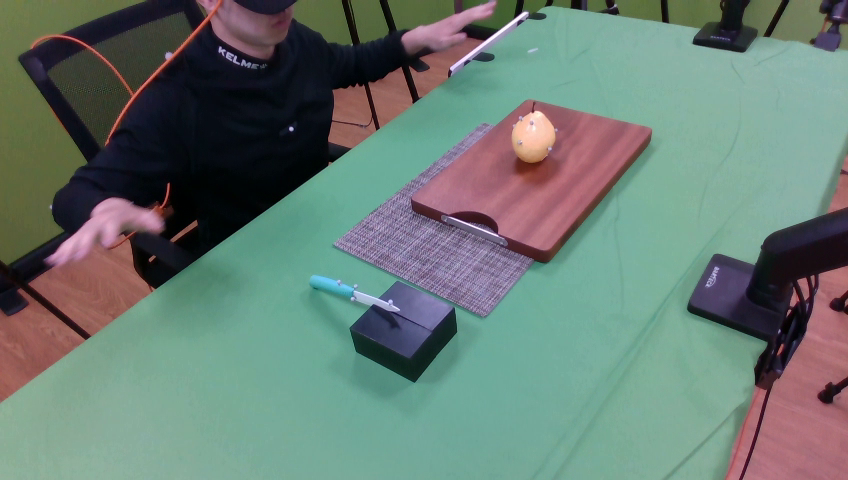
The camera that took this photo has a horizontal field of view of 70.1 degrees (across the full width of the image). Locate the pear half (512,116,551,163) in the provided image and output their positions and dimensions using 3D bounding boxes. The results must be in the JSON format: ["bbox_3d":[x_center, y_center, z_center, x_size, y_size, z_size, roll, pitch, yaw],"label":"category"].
[{"bbox_3d":[0.182,-0.169,1.043,0.070,0.088,0.031,13,45,18],"label":"pear half"}]

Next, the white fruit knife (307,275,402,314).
[{"bbox_3d":[-0.102,0.076,0.847,0.205,0.027,0.016,12,46,43],"label":"white fruit knife"}]

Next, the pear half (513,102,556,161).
[{"bbox_3d":[0.196,-0.198,1.060,0.076,0.110,0.056,13,44,17],"label":"pear half"}]
